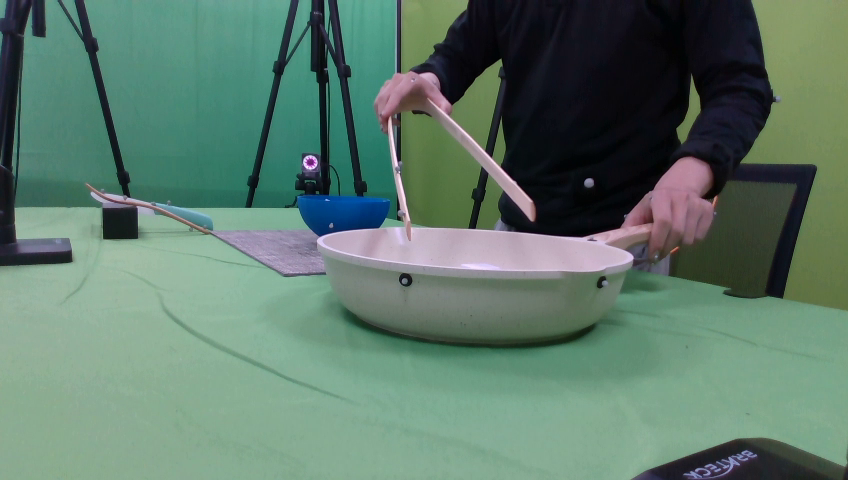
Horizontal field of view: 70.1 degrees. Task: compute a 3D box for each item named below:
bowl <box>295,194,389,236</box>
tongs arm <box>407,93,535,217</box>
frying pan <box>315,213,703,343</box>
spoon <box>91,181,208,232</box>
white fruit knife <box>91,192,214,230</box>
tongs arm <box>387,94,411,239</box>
[{"bbox_3d":[-0.132,-0.032,0.980,0.151,0.077,0.151,2,7,0],"label":"bowl"},{"bbox_3d":[0.049,-0.125,0.778,0.028,0.028,0.386,-19,34,-10],"label":"tongs arm"},{"bbox_3d":[0.133,0.014,0.629,0.490,0.102,0.305,-11,14,-29],"label":"frying pan"},{"bbox_3d":[-0.461,-0.053,1.023,0.195,0.021,0.041,21,22,-24],"label":"spoon"},{"bbox_3d":[-0.477,-0.055,1.077,0.208,0.027,0.016,15,-5,-30],"label":"white fruit knife"},{"bbox_3d":[-0.021,-0.112,0.769,0.051,0.026,0.383,-10,32,-3],"label":"tongs arm"}]
